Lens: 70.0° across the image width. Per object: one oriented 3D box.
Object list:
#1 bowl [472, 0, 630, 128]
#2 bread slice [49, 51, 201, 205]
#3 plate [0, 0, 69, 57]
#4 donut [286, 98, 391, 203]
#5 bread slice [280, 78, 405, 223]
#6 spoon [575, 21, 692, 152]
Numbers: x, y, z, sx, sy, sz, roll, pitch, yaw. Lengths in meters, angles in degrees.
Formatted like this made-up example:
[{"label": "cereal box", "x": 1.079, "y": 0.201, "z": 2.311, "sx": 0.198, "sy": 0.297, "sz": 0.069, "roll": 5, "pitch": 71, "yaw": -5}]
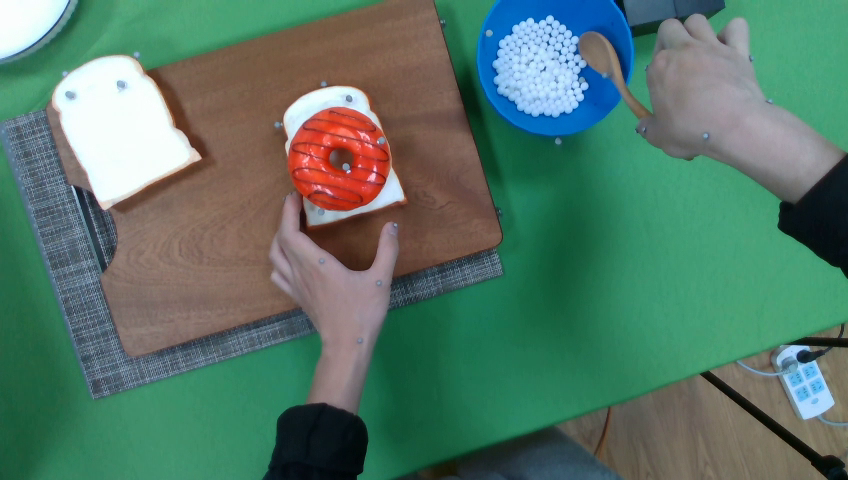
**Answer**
[{"label": "bowl", "x": 0.119, "y": -0.182, "z": 0.605, "sx": 0.151, "sy": 0.076, "sz": 0.151, "roll": 0, "pitch": 93, "yaw": -3}, {"label": "bread slice", "x": -0.298, "y": -0.113, "z": 0.589, "sx": 0.107, "sy": 0.018, "sz": 0.134, "roll": -32, "pitch": 93, "yaw": -2}, {"label": "plate", "x": -0.444, "y": -0.279, "z": 0.595, "sx": 0.208, "sy": 0.039, "sz": 0.207, "roll": 0, "pitch": 93, "yaw": -3}, {"label": "donut", "x": -0.081, "y": -0.084, "z": 0.572, "sx": 0.099, "sy": 0.048, "sz": 0.099, "roll": 0, "pitch": 94, "yaw": -3}, {"label": "bread slice", "x": -0.088, "y": -0.092, "z": 0.602, "sx": 0.105, "sy": 0.019, "sz": 0.131, "roll": -18, "pitch": 95, "yaw": -3}, {"label": "spoon", "x": 0.184, "y": -0.139, "z": 0.546, "sx": 0.021, "sy": 0.042, "sz": 0.191, "roll": -14, "pitch": 51, "yaw": -5}]
